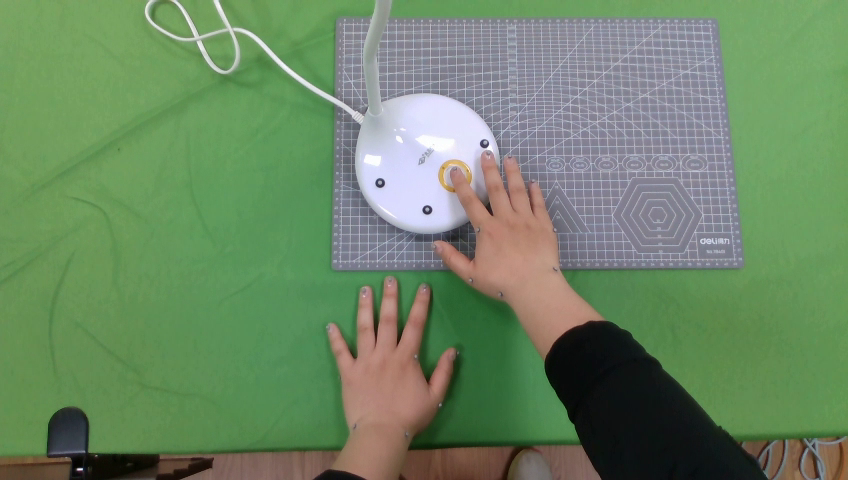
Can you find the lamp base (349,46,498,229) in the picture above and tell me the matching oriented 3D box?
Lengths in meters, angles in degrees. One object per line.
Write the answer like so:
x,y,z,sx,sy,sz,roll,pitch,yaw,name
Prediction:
-0.011,-0.111,0.592,0.179,0.181,0.160,26,79,7,lamp base
